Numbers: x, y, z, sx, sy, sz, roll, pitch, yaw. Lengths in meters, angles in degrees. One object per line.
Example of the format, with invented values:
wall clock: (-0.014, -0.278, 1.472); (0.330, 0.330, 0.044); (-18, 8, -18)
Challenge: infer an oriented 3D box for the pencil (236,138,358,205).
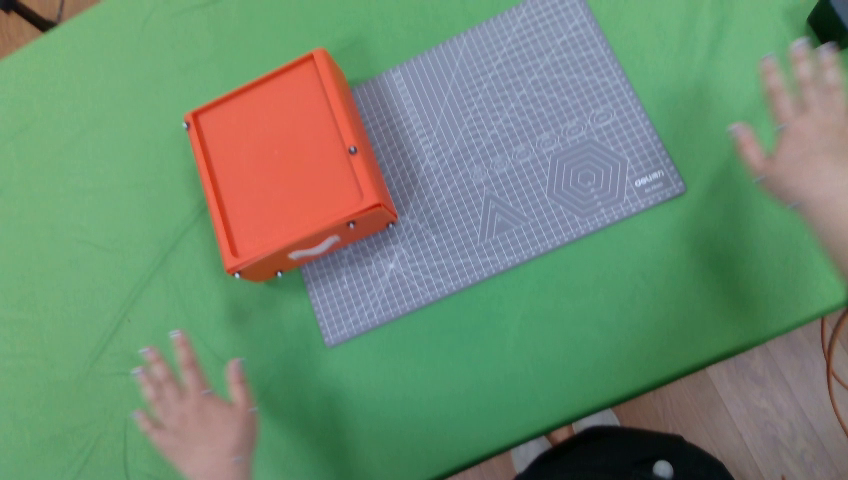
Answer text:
pencil: (-0.161, -0.087, 0.760); (0.193, 0.012, 0.012); (28, 86, 17)

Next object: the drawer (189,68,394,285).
drawer: (-0.164, -0.076, 0.737); (0.194, 0.074, 0.210); (-24, 73, 8)

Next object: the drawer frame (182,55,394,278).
drawer frame: (-0.168, -0.081, 0.737); (0.201, 0.083, 0.212); (-24, 73, 8)
